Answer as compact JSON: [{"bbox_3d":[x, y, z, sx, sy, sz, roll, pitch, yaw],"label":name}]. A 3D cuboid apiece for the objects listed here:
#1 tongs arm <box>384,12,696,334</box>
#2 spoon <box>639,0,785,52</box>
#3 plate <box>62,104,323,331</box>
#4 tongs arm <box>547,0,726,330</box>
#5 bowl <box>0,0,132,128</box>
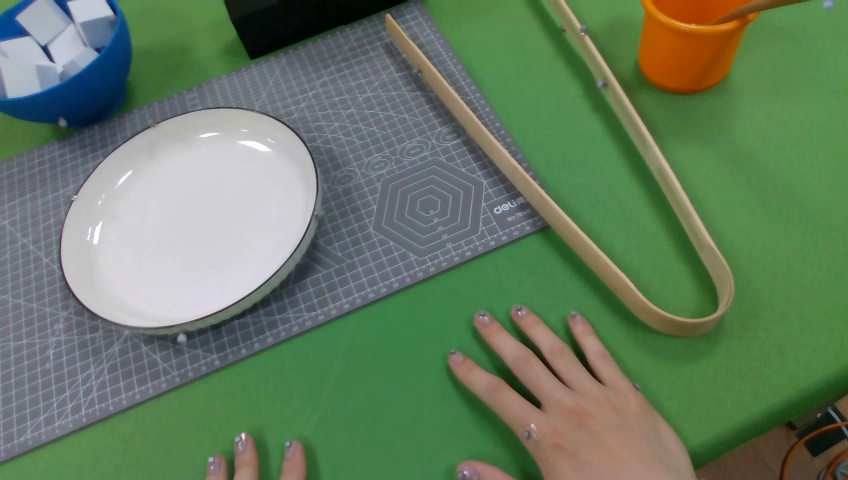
[{"bbox_3d":[0.066,-0.073,0.486,0.028,0.028,0.383,-29,61,-13],"label":"tongs arm"},{"bbox_3d":[0.234,-0.170,0.448,0.041,0.192,0.022,-44,106,-13],"label":"spoon"},{"bbox_3d":[-0.179,-0.020,0.487,0.207,0.039,0.205,-4,59,7],"label":"plate"},{"bbox_3d":[0.141,-0.107,0.493,0.051,0.027,0.381,-19,60,-4],"label":"tongs arm"},{"bbox_3d":[-0.339,-0.160,0.575,0.151,0.077,0.150,-4,59,7],"label":"bowl"}]
